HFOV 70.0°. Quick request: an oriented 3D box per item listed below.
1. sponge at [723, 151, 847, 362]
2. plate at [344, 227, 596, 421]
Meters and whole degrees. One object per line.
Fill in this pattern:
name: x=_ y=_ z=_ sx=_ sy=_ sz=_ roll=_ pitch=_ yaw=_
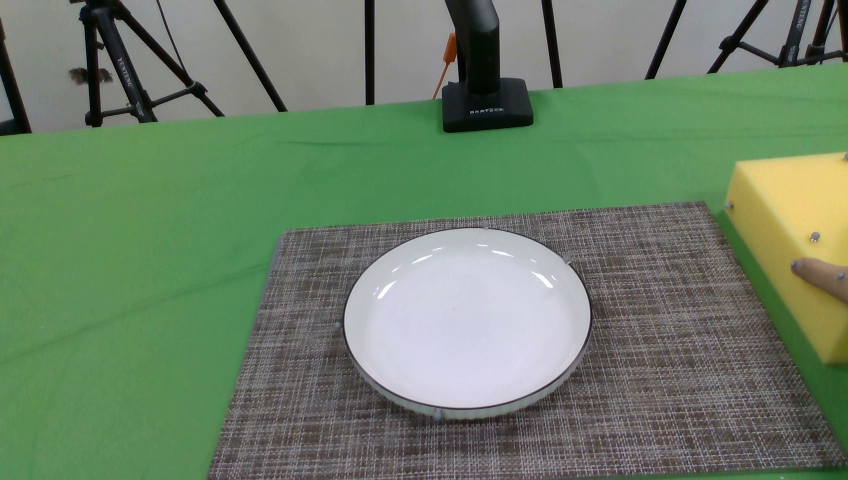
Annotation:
sponge: x=0.366 y=0.005 z=0.527 sx=0.118 sy=0.061 sz=0.204 roll=-5 pitch=40 yaw=2
plate: x=0.038 y=0.067 z=0.514 sx=0.207 sy=0.039 sz=0.205 roll=-4 pitch=40 yaw=4
